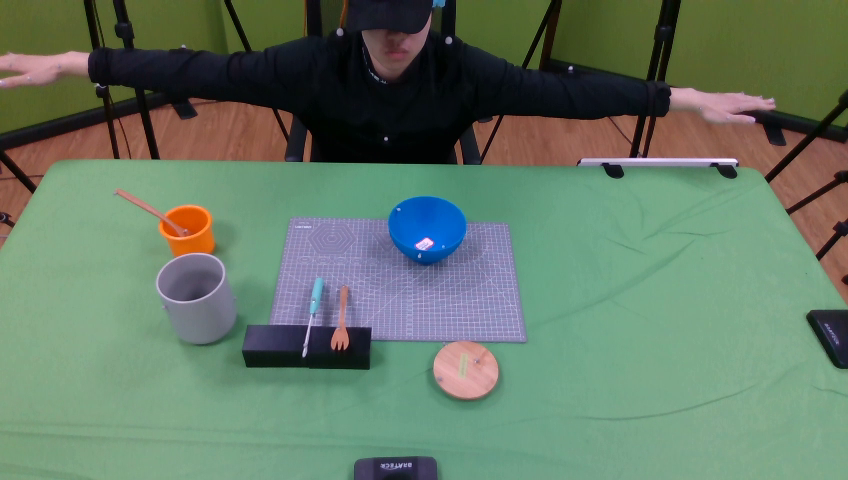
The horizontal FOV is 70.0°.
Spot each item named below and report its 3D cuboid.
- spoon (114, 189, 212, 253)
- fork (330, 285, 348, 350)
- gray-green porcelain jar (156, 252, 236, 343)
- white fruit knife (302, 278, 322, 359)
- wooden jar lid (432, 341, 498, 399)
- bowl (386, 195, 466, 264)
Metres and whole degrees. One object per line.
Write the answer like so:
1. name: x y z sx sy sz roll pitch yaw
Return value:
1. spoon: -0.475 -0.037 1.109 0.021 0.195 0.041 -29 34 32
2. fork: -0.140 0.127 1.021 0.028 0.019 0.206 -5 28 -2
3. gray-green porcelain jar: -0.371 0.100 0.999 0.106 0.127 0.105 2 46 -2
4. white fruit knife: -0.189 0.126 1.020 0.016 0.027 0.206 0 33 -2
5. wooden jar lid: 0.067 0.216 0.997 0.108 0.021 0.107 1 46 -1
6. bowl: 0.003 -0.007 1.162 0.151 0.077 0.150 2 46 -2
